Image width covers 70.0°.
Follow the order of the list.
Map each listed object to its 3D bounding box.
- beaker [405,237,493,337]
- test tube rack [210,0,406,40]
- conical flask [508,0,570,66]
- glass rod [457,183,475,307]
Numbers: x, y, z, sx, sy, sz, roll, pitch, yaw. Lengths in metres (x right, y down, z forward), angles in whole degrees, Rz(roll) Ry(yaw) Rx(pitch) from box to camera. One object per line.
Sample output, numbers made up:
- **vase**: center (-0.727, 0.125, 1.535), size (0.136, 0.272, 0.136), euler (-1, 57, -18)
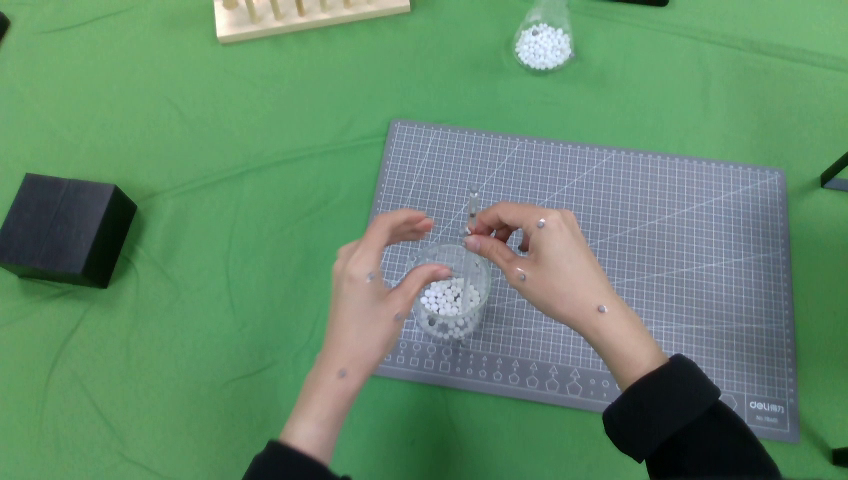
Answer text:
- **beaker**: center (0.020, 0.048, 0.581), size (0.083, 0.101, 0.074), euler (27, 71, 12)
- **test tube rack**: center (-0.149, -0.319, 0.738), size (0.242, 0.086, 0.066), euler (-12, 69, -4)
- **conical flask**: center (0.139, -0.265, 0.693), size (0.075, 0.123, 0.075), euler (0, 68, 1)
- **glass rod**: center (0.034, 0.013, 0.511), size (0.008, 0.201, 0.008), euler (0, 59, 1)
